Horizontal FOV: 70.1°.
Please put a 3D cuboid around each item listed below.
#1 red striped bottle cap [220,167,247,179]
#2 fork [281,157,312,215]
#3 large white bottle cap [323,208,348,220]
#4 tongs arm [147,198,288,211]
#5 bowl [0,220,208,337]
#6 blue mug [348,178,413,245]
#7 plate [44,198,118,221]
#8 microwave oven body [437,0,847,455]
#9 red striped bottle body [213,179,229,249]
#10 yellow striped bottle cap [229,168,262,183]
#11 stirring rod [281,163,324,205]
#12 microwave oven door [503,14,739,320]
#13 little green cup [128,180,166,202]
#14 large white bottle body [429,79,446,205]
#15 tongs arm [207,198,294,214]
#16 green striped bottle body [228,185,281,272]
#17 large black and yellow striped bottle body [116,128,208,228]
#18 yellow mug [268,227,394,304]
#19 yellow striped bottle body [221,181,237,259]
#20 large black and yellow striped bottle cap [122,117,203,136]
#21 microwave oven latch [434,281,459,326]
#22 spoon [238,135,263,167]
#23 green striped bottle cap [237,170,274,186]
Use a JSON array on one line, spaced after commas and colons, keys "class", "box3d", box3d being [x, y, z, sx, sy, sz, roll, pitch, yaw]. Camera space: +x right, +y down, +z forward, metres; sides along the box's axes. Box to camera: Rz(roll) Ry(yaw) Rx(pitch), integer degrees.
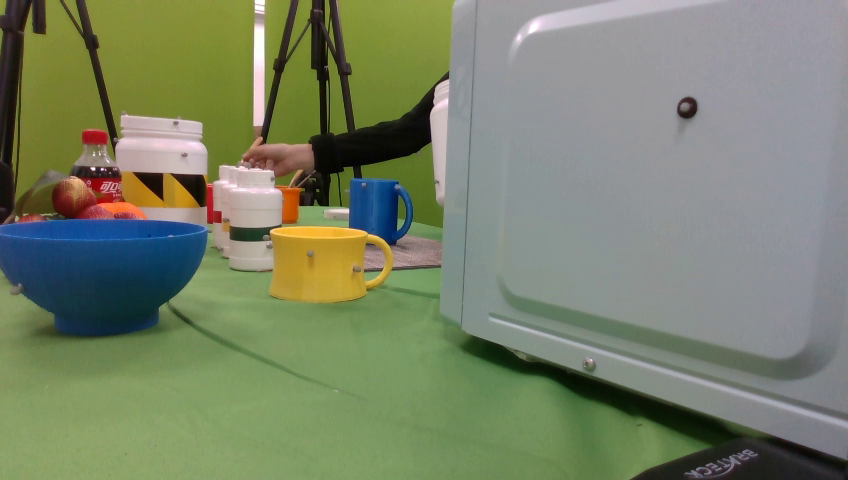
[{"class": "red striped bottle cap", "box3d": [-0.281, -0.099, 0.901, 0.044, 0.017, 0.044, -1, 4, 0]}, {"class": "fork", "box3d": [-0.290, -0.116, 1.321, 0.028, 0.019, 0.207, 6, 52, 18]}, {"class": "large white bottle cap", "box3d": [-0.184, -0.062, 1.450, 0.115, 0.018, 0.115, 2, 8, 0]}, {"class": "tongs arm", "box3d": [-0.503, -0.091, 1.513, 0.028, 0.028, 0.389, 0, 4, 38]}, {"class": "bowl", "box3d": [-0.251, 0.029, 0.479, 0.151, 0.077, 0.151, 2, 7, 0]}, {"class": "blue mug", "box3d": [-0.071, -0.047, 1.003, 0.116, 0.106, 0.082, 7, 9, 26]}, {"class": "plate", "box3d": [-0.617, -0.056, 1.179, 0.209, 0.038, 0.209, 3, 7, 0]}, {"class": "microwave oven body", "box3d": [0.279, -0.040, 0.465, 0.444, 0.260, 0.324, -3, 9, -41]}, {"class": "red striped bottle body", "box3d": [-0.284, -0.048, 0.909, 0.063, 0.119, 0.063, 3, 10, 0]}, {"class": "yellow striped bottle cap", "box3d": [-0.241, -0.087, 0.816, 0.044, 0.018, 0.044, -2, 5, 1]}, {"class": "stirring rod", "box3d": [-0.277, -0.105, 1.294, 0.176, 0.006, 0.014, -47, 25, -18]}, {"class": "microwave oven door", "box3d": [0.218, -0.065, 0.600, 0.358, 0.243, 0.039, -4, 10, -41]}, {"class": "little green cup", "box3d": [-0.485, -0.087, 1.062, 0.061, 0.038, 0.061, -1, 6, 0]}, {"class": "large white bottle body", "box3d": [0.076, -0.149, 0.928, 0.131, 0.184, 0.130, -5, -4, 0]}, {"class": "tongs arm", "box3d": [-0.423, -0.085, 1.473, 0.050, 0.026, 0.386, 2, 6, 22]}, {"class": "green striped bottle body", "box3d": [-0.208, -0.023, 0.745, 0.063, 0.119, 0.063, 2, 7, 0]}, {"class": "large black and yellow striped bottle body", "box3d": [-0.404, -0.089, 0.937, 0.131, 0.184, 0.130, 3, 7, 0]}, {"class": "yellow mug", "box3d": [-0.094, 0.023, 0.629, 0.131, 0.064, 0.099, 0, 7, -22]}, {"class": "yellow striped bottle body", "box3d": [-0.244, -0.035, 0.823, 0.063, 0.120, 0.063, 2, 8, 0]}, {"class": "large black and yellow striped bottle cap", "box3d": [-0.399, -0.174, 0.927, 0.115, 0.019, 0.115, 5, 9, -1]}, {"class": "microwave oven latch", "box3d": [0.044, 0.045, 0.470, 0.079, 0.029, 0.030, -3, 8, -39]}, {"class": "spoon", "box3d": [-0.374, -0.156, 1.250, 0.041, 0.193, 0.022, 3, -38, 20]}, {"class": "green striped bottle cap", "box3d": [-0.206, -0.075, 0.737, 0.044, 0.020, 0.044, 2, 5, 0]}]
